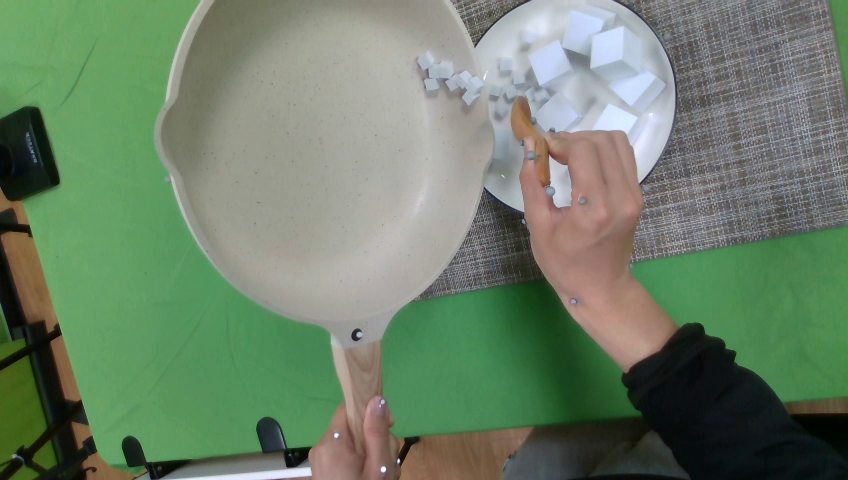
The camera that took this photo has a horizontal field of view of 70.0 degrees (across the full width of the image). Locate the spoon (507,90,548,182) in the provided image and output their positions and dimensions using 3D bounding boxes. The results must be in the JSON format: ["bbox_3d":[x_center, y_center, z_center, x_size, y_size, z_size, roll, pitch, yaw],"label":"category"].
[{"bbox_3d":[0.079,-0.080,0.453,0.021,0.192,0.042,-13,112,7],"label":"spoon"}]

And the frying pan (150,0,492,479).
[{"bbox_3d":[-0.063,0.019,0.494,0.102,0.308,0.488,1,97,48],"label":"frying pan"}]

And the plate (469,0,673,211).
[{"bbox_3d":[0.127,-0.133,0.579,0.206,0.039,0.208,4,102,23],"label":"plate"}]
